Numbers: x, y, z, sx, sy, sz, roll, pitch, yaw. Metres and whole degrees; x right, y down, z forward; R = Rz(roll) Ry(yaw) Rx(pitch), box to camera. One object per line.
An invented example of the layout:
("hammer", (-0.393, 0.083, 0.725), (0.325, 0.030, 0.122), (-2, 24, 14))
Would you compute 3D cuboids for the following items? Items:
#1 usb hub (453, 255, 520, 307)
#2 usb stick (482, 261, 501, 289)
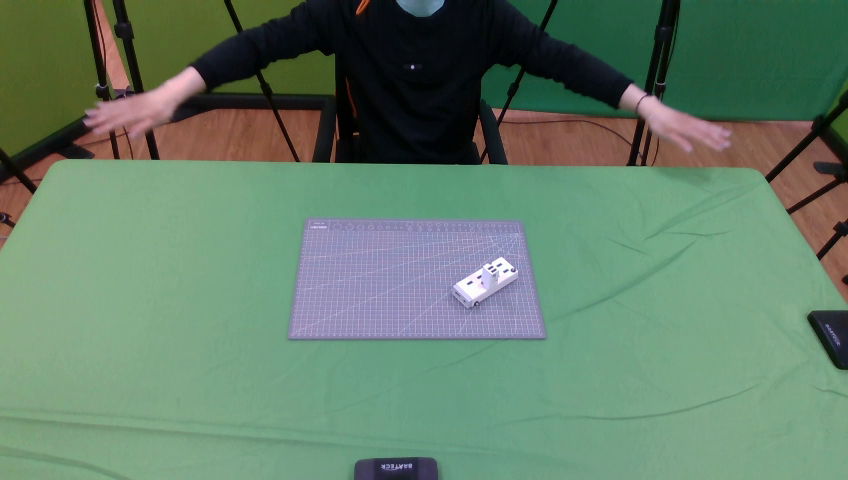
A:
("usb hub", (0.117, 0.076, 1.122), (0.125, 0.025, 0.049), (-28, 55, -26))
("usb stick", (0.120, 0.067, 1.090), (0.021, 0.059, 0.027), (-30, 57, -28))
